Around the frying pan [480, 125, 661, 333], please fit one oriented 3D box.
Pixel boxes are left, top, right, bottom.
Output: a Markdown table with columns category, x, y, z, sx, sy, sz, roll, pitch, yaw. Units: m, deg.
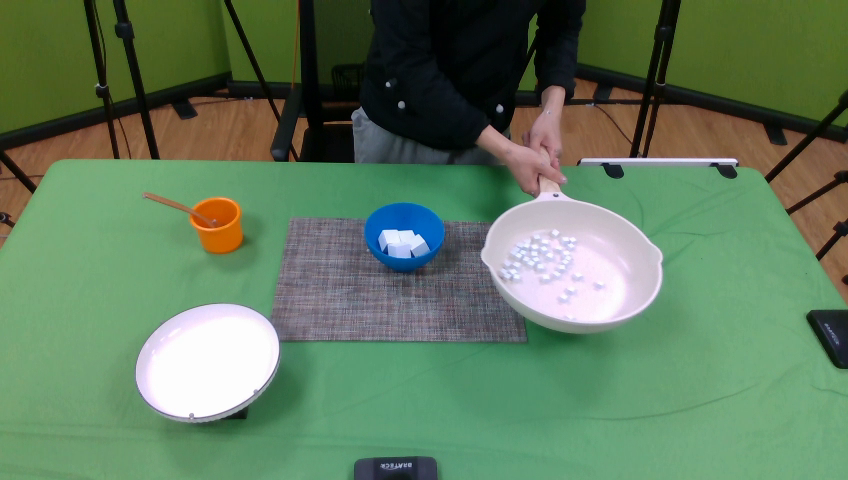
| category | x | y | z | sx | sy | sz | roll | pitch | yaw |
| --- | --- | --- | --- | --- | --- | --- | --- | --- | --- |
| frying pan | 0.240 | -0.039 | 1.094 | 0.307 | 0.103 | 0.484 | 0 | 53 | -5 |

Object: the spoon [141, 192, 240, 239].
| category | x | y | z | sx | sy | sz | roll | pitch | yaw |
| --- | --- | --- | --- | --- | --- | --- | --- | --- | --- |
| spoon | -0.428 | -0.048 | 1.123 | 0.021 | 0.195 | 0.041 | -38 | 44 | 21 |

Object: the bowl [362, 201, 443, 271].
| category | x | y | z | sx | sy | sz | roll | pitch | yaw |
| --- | --- | --- | --- | --- | --- | --- | --- | --- | --- |
| bowl | -0.041 | 0.006 | 1.145 | 0.151 | 0.077 | 0.150 | 2 | 46 | -2 |

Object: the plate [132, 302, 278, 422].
| category | x | y | z | sx | sy | sz | roll | pitch | yaw |
| --- | --- | --- | --- | --- | --- | --- | --- | --- | --- |
| plate | -0.325 | 0.186 | 0.916 | 0.208 | 0.039 | 0.206 | 3 | 44 | -2 |
